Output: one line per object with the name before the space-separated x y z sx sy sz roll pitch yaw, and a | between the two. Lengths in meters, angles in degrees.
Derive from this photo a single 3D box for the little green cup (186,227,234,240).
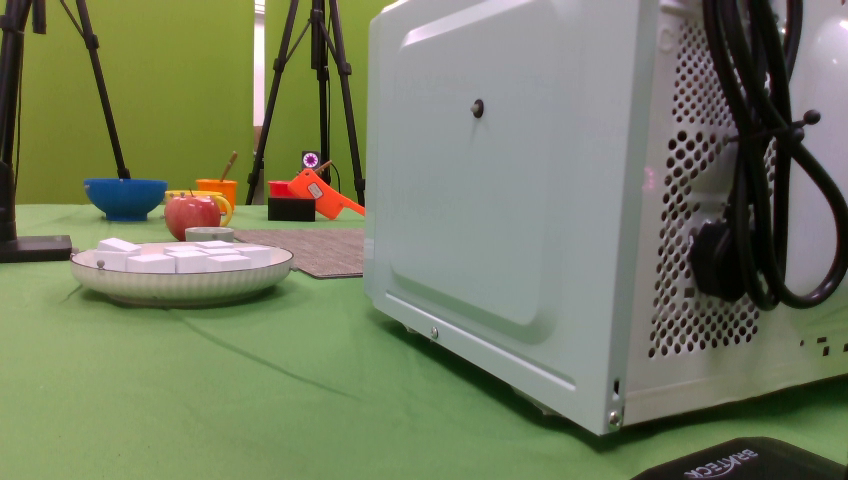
little green cup | -0.284 0.005 0.805 0.061 0.038 0.061 2 8 0

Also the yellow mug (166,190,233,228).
yellow mug | -0.415 -0.057 1.132 0.130 0.064 0.100 6 8 16

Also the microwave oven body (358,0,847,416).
microwave oven body | 0.211 -0.047 0.474 0.444 0.260 0.324 -1 7 -28

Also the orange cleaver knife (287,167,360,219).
orange cleaver knife | -0.209 -0.089 1.383 0.212 0.077 0.012 31 3 -15

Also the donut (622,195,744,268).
donut | 0.220 -0.006 0.518 0.099 0.048 0.099 23 0 0

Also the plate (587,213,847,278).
plate | 0.244 0.001 0.512 0.209 0.038 0.209 2 6 0

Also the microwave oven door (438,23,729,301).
microwave oven door | 0.181 -0.072 0.620 0.358 0.243 0.039 -2 8 -29

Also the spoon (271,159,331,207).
spoon | -0.308 -0.142 1.514 0.193 0.021 0.041 -41 5 9

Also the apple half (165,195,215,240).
apple half | -0.377 -0.038 0.964 0.082 0.081 0.032 -4 15 -39

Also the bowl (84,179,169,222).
bowl | -0.584 -0.078 1.194 0.151 0.077 0.151 3 8 0

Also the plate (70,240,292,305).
plate | -0.241 0.031 0.618 0.208 0.039 0.207 2 8 0

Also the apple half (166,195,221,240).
apple half | -0.351 -0.032 0.935 0.081 0.074 0.053 1 11 -40

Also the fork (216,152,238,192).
fork | -0.455 -0.132 1.367 0.028 0.018 0.207 -2 -35 -37

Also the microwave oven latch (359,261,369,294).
microwave oven latch | -0.021 0.032 0.539 0.079 0.029 0.030 -3 9 -42
